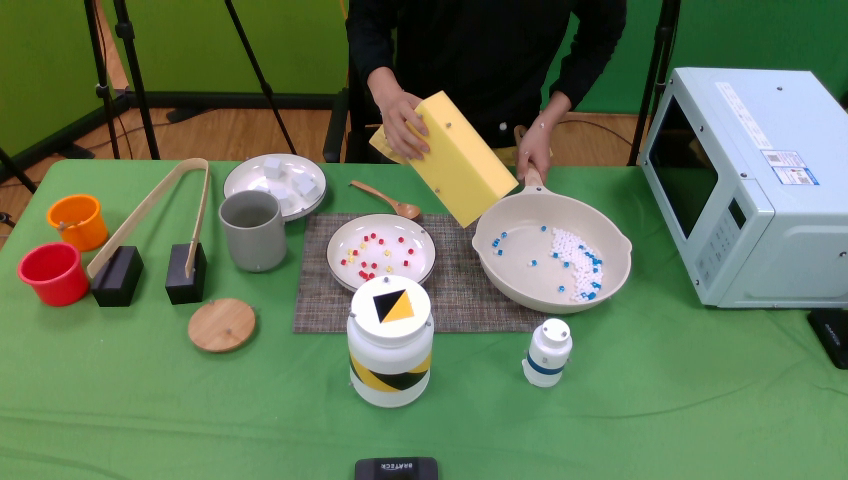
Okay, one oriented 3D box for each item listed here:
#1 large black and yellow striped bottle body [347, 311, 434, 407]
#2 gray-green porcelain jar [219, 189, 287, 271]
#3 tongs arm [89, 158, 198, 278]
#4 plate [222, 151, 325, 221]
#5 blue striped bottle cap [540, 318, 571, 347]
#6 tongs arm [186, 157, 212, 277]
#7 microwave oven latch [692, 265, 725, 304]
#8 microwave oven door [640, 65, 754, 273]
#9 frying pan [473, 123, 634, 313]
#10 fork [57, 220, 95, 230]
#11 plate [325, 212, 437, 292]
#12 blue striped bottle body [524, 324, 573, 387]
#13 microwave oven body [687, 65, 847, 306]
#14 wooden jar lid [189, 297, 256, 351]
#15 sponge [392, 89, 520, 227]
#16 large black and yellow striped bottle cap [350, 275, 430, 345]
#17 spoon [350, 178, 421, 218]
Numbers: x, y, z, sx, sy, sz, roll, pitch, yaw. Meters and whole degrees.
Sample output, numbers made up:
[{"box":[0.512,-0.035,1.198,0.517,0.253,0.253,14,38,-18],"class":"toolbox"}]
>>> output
[{"box":[-0.052,0.157,0.929,0.131,0.185,0.130,2,47,-2],"class":"large black and yellow striped bottle body"},{"box":[-0.310,-0.014,1.114,0.106,0.127,0.105,2,46,-2],"class":"gray-green porcelain jar"},{"box":[-0.529,-0.057,1.164,0.028,0.028,0.385,1,36,8],"class":"tongs arm"},{"box":[-0.310,-0.106,1.263,0.208,0.039,0.206,2,47,-2],"class":"plate"},{"box":[0.203,0.142,0.933,0.044,0.021,0.044,3,49,-3],"class":"blue striped bottle cap"},{"box":[-0.445,-0.058,1.169,0.051,0.026,0.382,-5,37,-6],"class":"tongs arm"},{"box":[0.522,0.081,1.116,0.030,0.029,0.078,1,46,-2],"class":"microwave oven latch"},{"box":[0.523,-0.147,1.193,0.039,0.245,0.353,0,47,-3],"class":"microwave oven door"},{"box":[0.235,-0.061,1.208,0.307,0.103,0.484,1,55,-6],"class":"frying pan"},{"box":[-0.624,-0.027,1.086,0.028,0.207,0.018,-3,92,-17],"class":"fork"},{"box":[-0.080,0.030,1.143,0.209,0.038,0.208,3,46,-2],"class":"plate"},{"box":[0.200,0.178,0.970,0.063,0.121,0.062,2,46,-2],"class":"blue striped bottle body"},{"box":[0.669,-0.111,1.176,0.326,0.261,0.439,0,46,-3],"class":"microwave oven body"},{"box":[-0.342,0.145,1.033,0.108,0.021,0.107,2,45,-2],"class":"wooden jar lid"},{"box":[0.051,-0.138,1.037,0.061,0.118,0.206,-37,86,-37],"class":"sponge"},{"box":[-0.048,0.097,0.868,0.115,0.019,0.114,3,48,-3],"class":"large black and yellow striped bottle cap"},{"box":[-0.084,-0.093,1.272,0.193,0.022,0.041,31,69,25],"class":"spoon"}]
